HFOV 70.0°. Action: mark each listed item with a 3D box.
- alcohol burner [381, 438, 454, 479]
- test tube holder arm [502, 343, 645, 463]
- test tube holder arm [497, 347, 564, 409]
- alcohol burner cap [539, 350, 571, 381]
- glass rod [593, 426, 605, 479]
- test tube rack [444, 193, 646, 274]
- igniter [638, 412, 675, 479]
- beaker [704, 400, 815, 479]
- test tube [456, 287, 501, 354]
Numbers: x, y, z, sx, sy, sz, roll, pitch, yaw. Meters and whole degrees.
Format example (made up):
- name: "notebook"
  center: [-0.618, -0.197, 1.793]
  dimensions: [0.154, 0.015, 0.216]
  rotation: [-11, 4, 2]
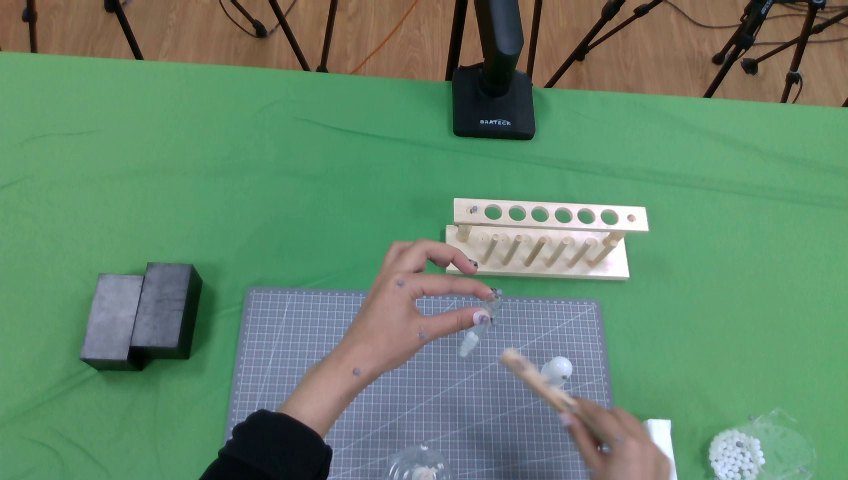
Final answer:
- name: "alcohol burner"
  center: [-0.006, 0.242, 0.624]
  dimensions: [0.078, 0.120, 0.077]
  rotation: [2, 63, -4]
- name: "test tube holder arm"
  center: [0.152, 0.168, 0.631]
  dimensions: [0.177, 0.015, 0.013]
  rotation: [36, 67, 16]
- name: "test tube holder arm"
  center: [0.114, 0.146, 0.641]
  dimensions: [0.087, 0.015, 0.010]
  rotation: [38, 68, 16]
- name: "alcohol burner cap"
  center: [0.159, 0.149, 0.725]
  dimensions: [0.034, 0.048, 0.033]
  rotation: [2, 66, -5]
- name: "glass rod"
  center: [0.203, 0.297, 0.680]
  dimensions: [0.008, 0.008, 0.198]
  rotation: [2, 65, -5]
- name: "test tube rack"
  center: [0.150, -0.006, 0.774]
  dimensions: [0.243, 0.086, 0.066]
  rotation: [2, 65, -5]
- name: "igniter"
  center: [0.270, 0.330, 0.665]
  dimensions: [0.057, 0.025, 0.274]
  rotation: [7, 64, -14]
- name: "beaker"
  center: [0.371, 0.230, 0.682]
  dimensions: [0.074, 0.101, 0.083]
  rotation: [15, 64, 1]
- name: "test tube"
  center: [0.048, 0.080, 0.571]
  dimensions: [0.017, 0.151, 0.017]
  rotation: [3, 62, -6]
